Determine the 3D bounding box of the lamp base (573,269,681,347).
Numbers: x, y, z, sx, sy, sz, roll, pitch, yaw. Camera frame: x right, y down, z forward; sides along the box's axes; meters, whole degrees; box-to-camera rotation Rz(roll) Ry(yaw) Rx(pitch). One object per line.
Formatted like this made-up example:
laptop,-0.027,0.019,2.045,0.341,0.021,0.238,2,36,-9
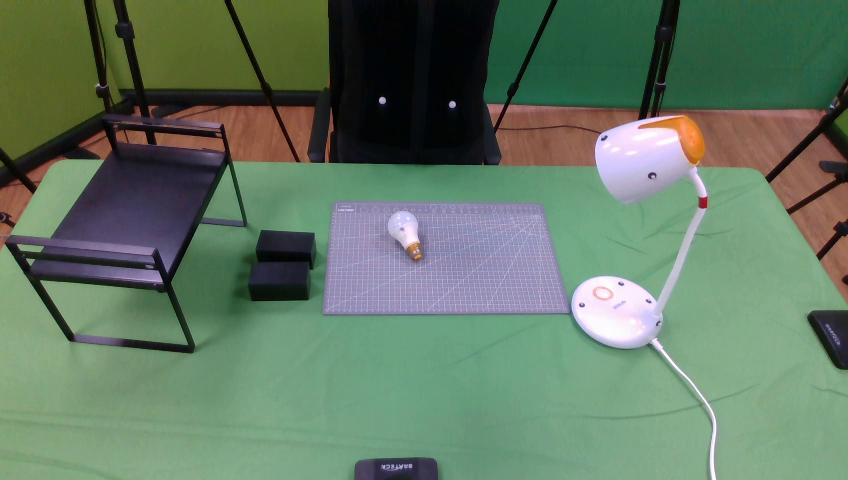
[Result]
lamp base,0.361,0.080,1.035,0.160,0.181,0.178,-34,59,-31

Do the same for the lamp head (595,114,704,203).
lamp head,0.316,-0.116,0.827,0.122,0.113,0.112,-15,28,45

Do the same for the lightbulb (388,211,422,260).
lightbulb,-0.033,-0.008,1.180,0.059,0.060,0.107,-17,65,-19
